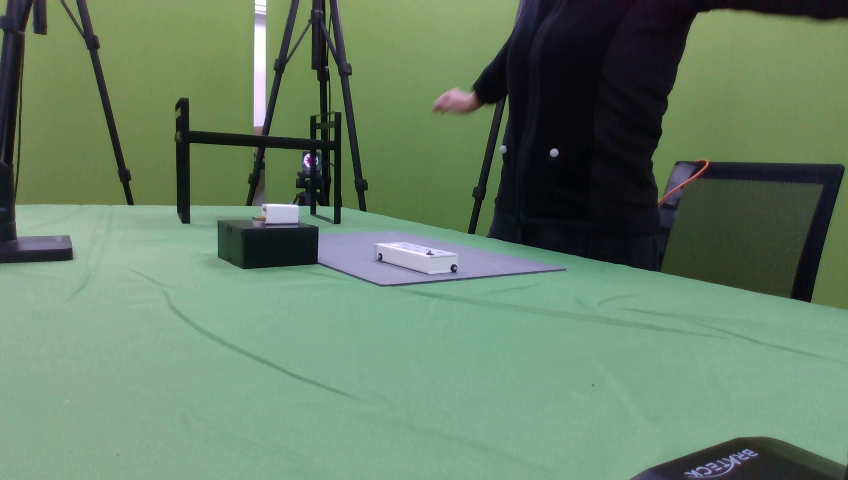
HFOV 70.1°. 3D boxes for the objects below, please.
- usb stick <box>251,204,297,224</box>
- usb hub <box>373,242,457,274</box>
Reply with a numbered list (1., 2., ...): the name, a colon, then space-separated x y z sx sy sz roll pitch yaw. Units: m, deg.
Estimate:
1. usb stick: -0.200 -0.035 0.805 0.059 0.027 0.021 -6 13 -34
2. usb hub: -0.014 0.021 0.799 0.050 0.025 0.124 -4 9 -37
